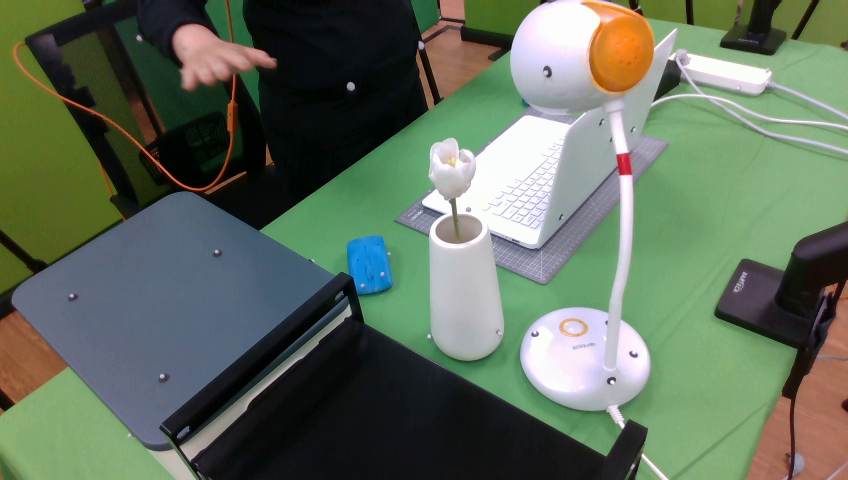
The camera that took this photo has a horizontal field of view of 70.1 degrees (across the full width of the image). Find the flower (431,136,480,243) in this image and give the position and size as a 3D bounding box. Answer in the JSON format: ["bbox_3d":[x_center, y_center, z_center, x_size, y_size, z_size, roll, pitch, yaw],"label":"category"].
[{"bbox_3d":[0.041,0.011,0.691,0.044,0.363,0.038,16,62,14],"label":"flower"}]

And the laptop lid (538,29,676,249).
[{"bbox_3d":[0.288,-0.159,0.939,0.013,0.242,0.358,31,51,24],"label":"laptop lid"}]

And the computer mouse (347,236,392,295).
[{"bbox_3d":[-0.086,0.035,0.936,0.063,0.041,0.116,-8,44,-5],"label":"computer mouse"}]

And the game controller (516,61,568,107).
[{"bbox_3d":[0.259,-0.352,1.336,0.097,0.052,0.154,-3,41,2],"label":"game controller"}]

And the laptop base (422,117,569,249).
[{"bbox_3d":[0.192,-0.116,1.087,0.233,0.023,0.355,21,48,34],"label":"laptop base"}]

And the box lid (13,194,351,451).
[{"bbox_3d":[-0.292,0.067,0.717,0.368,0.015,0.264,25,50,33],"label":"box lid"}]

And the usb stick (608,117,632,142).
[{"bbox_3d":[0.370,-0.207,1.147,0.021,0.027,0.059,27,55,32],"label":"usb stick"}]

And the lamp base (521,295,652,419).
[{"bbox_3d":[0.200,0.095,0.710,0.161,0.181,0.177,-16,43,-10],"label":"lamp base"}]

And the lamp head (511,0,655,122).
[{"bbox_3d":[0.155,-0.168,0.564,0.113,0.113,0.122,-18,23,-12],"label":"lamp head"}]

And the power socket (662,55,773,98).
[{"bbox_3d":[0.619,-0.352,1.289,0.225,0.033,0.072,26,51,33],"label":"power socket"}]

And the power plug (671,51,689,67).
[{"bbox_3d":[0.541,-0.378,1.301,0.073,0.053,0.035,-33,46,-23],"label":"power plug"}]

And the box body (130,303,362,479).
[{"bbox_3d":[-0.285,0.123,0.766,0.361,0.161,0.255,25,49,33],"label":"box body"}]

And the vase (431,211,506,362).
[{"bbox_3d":[0.054,0.062,0.757,0.098,0.201,0.097,-3,40,3],"label":"vase"}]
